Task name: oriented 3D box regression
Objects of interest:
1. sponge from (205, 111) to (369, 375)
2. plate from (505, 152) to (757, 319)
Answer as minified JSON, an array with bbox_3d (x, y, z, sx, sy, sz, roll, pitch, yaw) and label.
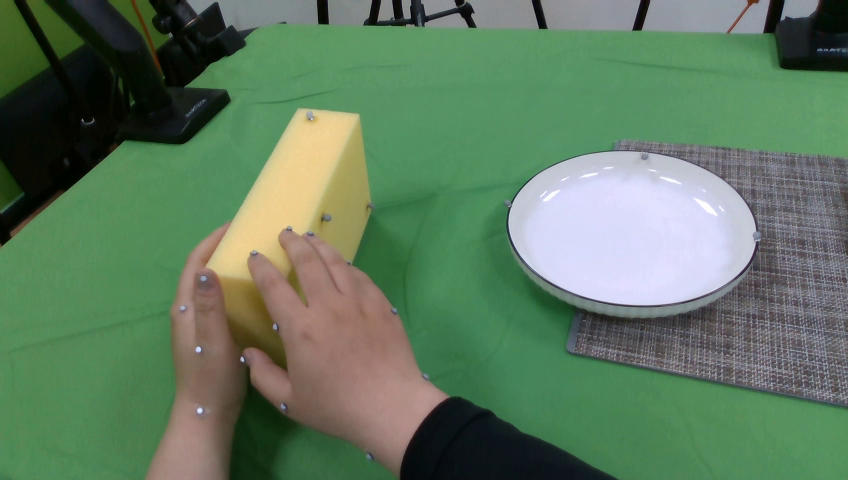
[{"bbox_3d":[-0.105,-0.004,0.529,0.061,0.119,0.205,6,48,8],"label":"sponge"},{"bbox_3d":[0.178,-0.005,0.539,0.209,0.038,0.207,-5,42,5],"label":"plate"}]
